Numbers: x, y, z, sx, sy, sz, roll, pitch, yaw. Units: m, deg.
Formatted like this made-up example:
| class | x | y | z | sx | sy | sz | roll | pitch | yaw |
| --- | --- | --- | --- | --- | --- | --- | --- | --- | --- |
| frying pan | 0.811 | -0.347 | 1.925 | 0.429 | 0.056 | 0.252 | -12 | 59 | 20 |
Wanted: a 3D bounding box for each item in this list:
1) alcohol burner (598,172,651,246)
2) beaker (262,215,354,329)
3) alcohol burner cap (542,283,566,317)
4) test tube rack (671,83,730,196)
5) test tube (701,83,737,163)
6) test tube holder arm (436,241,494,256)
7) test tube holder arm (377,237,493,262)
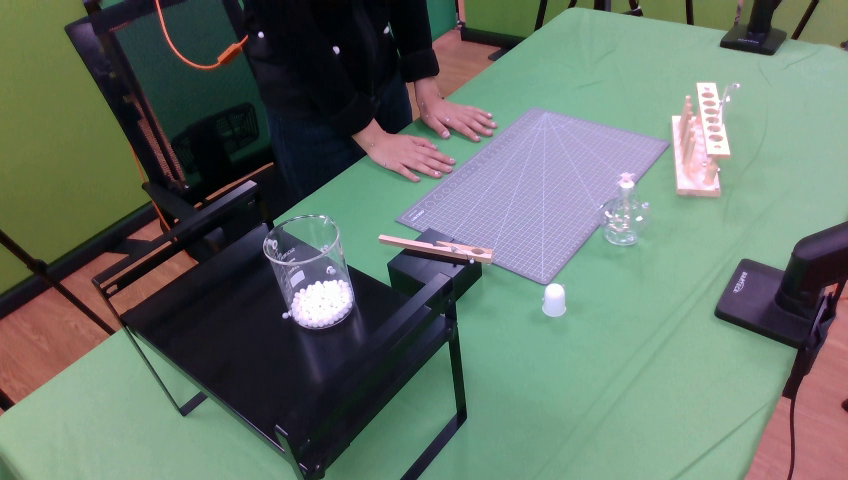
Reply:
| class | x | y | z | sx | sy | sz | roll | pitch | yaw |
| --- | --- | --- | --- | --- | --- | --- | --- | --- | --- |
| alcohol burner | 0.306 | -0.051 | 0.918 | 0.078 | 0.119 | 0.077 | -5 | 40 | 5 |
| beaker | -0.112 | 0.034 | 0.616 | 0.073 | 0.101 | 0.084 | 13 | 44 | 23 |
| alcohol burner cap | 0.181 | 0.081 | 0.839 | 0.034 | 0.048 | 0.033 | -4 | 40 | 4 |
| test tube rack | 0.482 | -0.184 | 1.067 | 0.066 | 0.085 | 0.242 | 5 | 42 | 15 |
| test tube | 0.485 | -0.190 | 0.998 | 0.017 | 0.151 | 0.017 | -1 | 44 | 2 |
| test tube holder arm | 0.058 | 0.015 | 0.878 | 0.087 | 0.015 | 0.010 | 8 | 45 | 19 |
| test tube holder arm | 0.014 | 0.013 | 0.888 | 0.177 | 0.015 | 0.013 | 7 | 45 | 17 |
